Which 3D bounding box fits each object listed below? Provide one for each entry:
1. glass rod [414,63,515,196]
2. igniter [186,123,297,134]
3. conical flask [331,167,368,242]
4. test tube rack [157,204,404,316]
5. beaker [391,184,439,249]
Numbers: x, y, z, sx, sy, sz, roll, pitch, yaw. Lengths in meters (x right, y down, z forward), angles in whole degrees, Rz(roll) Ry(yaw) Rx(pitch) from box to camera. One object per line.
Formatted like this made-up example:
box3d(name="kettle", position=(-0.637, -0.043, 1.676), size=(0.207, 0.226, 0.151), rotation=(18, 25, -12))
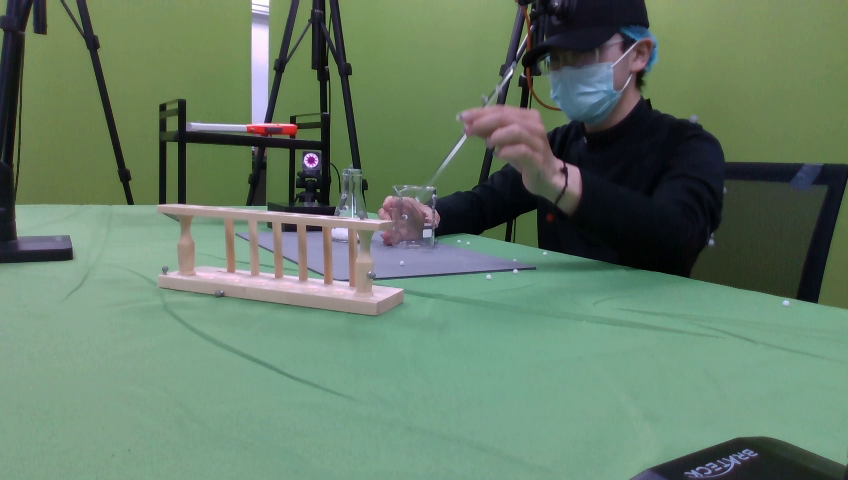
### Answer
box3d(name="glass rod", position=(0.048, -0.133, 0.738), size=(0.008, 0.199, 0.008), rotation=(37, 7, -5))
box3d(name="igniter", position=(-0.392, -0.248, 1.341), size=(0.057, 0.025, 0.278), rotation=(9, 14, 38))
box3d(name="conical flask", position=(-0.123, -0.061, 1.019), size=(0.075, 0.122, 0.075), rotation=(2, 7, 0))
box3d(name="test tube rack", position=(-0.143, 0.013, 0.599), size=(0.242, 0.085, 0.067), rotation=(5, 8, 19))
box3d(name="beaker", position=(-0.018, -0.038, 0.967), size=(0.073, 0.100, 0.084), rotation=(7, 9, 33))
